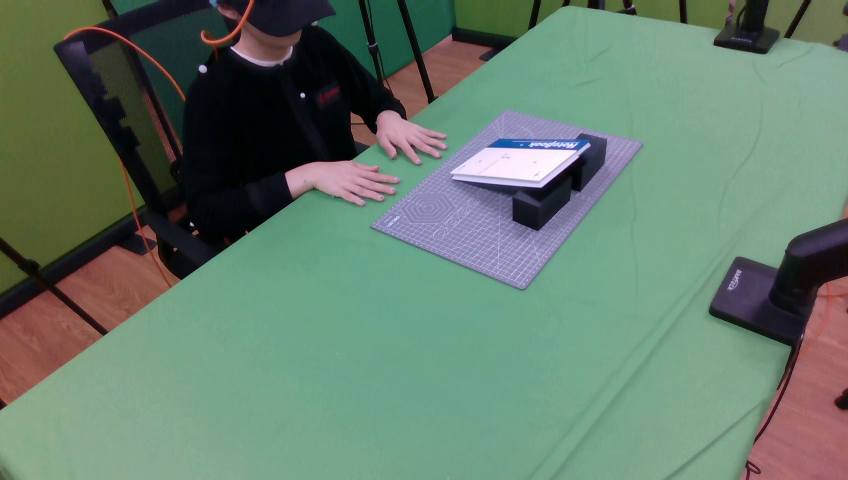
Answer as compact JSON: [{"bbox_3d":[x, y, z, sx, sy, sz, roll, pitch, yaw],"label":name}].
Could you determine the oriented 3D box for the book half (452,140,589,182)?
[{"bbox_3d":[0.165,-0.143,1.065,0.144,0.007,0.208,-37,30,-30],"label":"book half"}]
